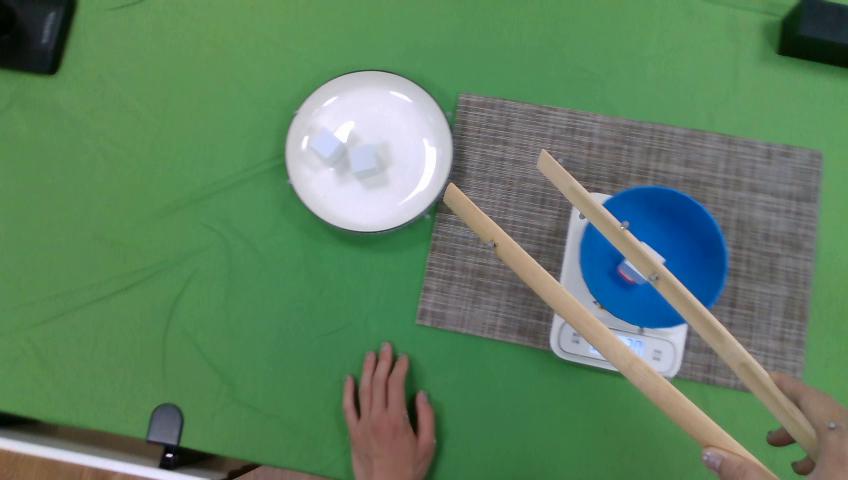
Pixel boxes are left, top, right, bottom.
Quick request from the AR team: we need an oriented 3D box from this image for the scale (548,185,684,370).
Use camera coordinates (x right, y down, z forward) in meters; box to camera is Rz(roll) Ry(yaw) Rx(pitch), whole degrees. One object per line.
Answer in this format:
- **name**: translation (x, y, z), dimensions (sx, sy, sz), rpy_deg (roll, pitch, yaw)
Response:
- **scale**: translation (0.234, 0.042, 0.710), dimensions (0.148, 0.031, 0.200), rpy_deg (11, 82, 5)

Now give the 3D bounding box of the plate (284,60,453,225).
- **plate**: translation (-0.068, -0.118, 0.751), dimensions (0.207, 0.039, 0.207), rpy_deg (0, 81, 3)

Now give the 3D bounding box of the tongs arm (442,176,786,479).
- **tongs arm**: translation (0.147, 0.072, 0.473), dimensions (0.028, 0.028, 0.384), rpy_deg (-27, 60, -37)

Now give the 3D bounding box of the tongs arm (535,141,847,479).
- **tongs arm**: translation (0.199, 0.049, 0.504), dimensions (0.051, 0.027, 0.381), rpy_deg (-21, 57, -29)

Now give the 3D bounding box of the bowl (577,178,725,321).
- **bowl**: translation (0.236, 0.015, 0.661), dimensions (0.151, 0.077, 0.151), rpy_deg (0, 81, 2)
